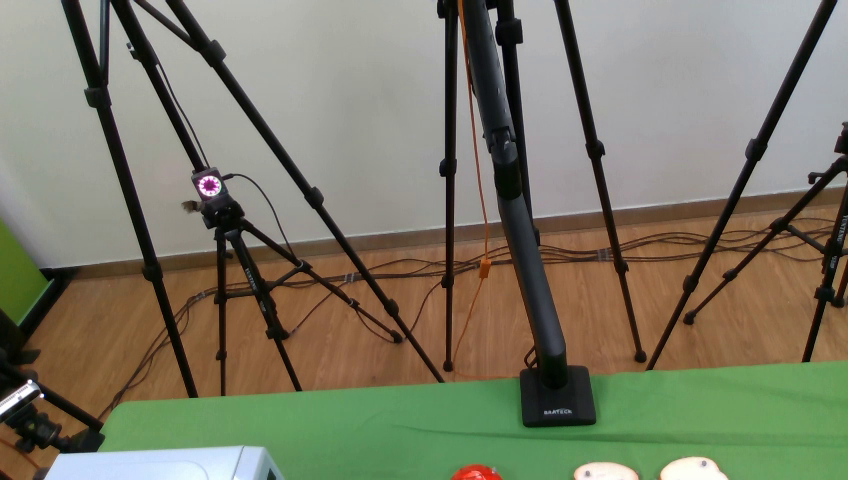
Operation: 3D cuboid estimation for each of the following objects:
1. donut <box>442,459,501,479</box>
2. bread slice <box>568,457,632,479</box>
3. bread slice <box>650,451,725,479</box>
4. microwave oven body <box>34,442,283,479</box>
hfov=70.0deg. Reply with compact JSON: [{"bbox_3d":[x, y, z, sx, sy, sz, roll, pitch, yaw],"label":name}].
[{"bbox_3d":[0.070,0.379,0.915,0.099,0.049,0.098,-10,38,8],"label":"donut"},{"bbox_3d":[0.257,0.380,0.880,0.107,0.018,0.133,-5,40,9],"label":"bread slice"},{"bbox_3d":[0.385,0.364,0.864,0.105,0.019,0.130,-13,39,-1],"label":"bread slice"},{"bbox_3d":[-0.356,0.502,0.706,0.325,0.263,0.437,-6,40,8],"label":"microwave oven body"}]
